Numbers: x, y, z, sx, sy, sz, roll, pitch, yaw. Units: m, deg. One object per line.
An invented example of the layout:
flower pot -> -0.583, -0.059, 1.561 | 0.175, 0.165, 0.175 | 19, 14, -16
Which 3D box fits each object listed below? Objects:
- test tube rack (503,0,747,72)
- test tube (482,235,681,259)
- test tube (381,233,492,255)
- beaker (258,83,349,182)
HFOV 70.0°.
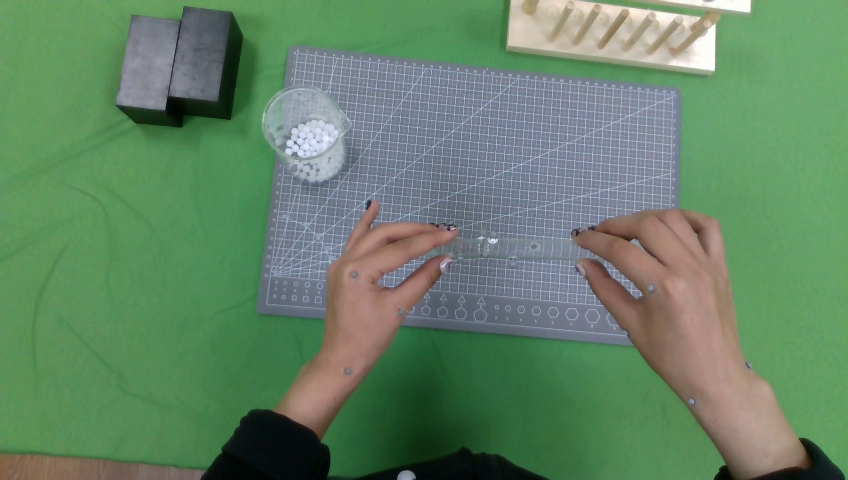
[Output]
test tube rack -> 0.217, -0.248, 0.670 | 0.242, 0.085, 0.066 | 6, 81, -3
test tube -> 0.118, 0.005, 0.453 | 0.150, 0.017, 0.017 | 1, 81, -4
test tube -> 0.005, 0.004, 0.512 | 0.017, 0.149, 0.017 | -1, 90, -34
beaker -> -0.116, -0.104, 0.615 | 0.084, 0.100, 0.073 | -2, 81, -5
